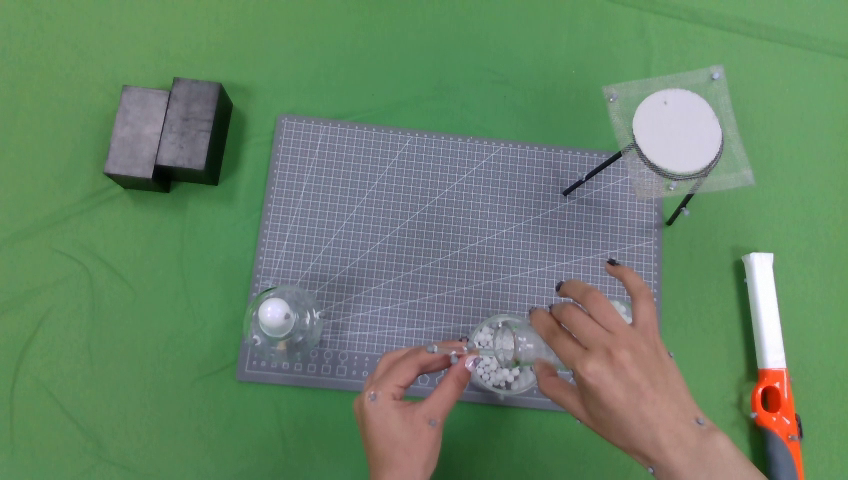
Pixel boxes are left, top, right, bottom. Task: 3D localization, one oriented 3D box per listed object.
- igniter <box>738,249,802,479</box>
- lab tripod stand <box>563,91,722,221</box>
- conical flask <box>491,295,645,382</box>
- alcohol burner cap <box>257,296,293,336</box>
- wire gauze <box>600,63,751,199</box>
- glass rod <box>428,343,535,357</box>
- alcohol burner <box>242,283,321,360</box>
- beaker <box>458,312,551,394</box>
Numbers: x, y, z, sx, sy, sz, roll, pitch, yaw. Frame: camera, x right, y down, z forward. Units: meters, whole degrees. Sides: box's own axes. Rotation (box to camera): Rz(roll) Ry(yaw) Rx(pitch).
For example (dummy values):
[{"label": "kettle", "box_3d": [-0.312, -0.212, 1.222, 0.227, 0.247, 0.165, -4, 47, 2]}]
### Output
[{"label": "igniter", "box_3d": [0.375, 0.146, 0.657, 0.057, 0.025, 0.275, 2, 78, -14]}, {"label": "lab tripod stand", "box_3d": [0.235, -0.086, 0.643, 0.148, 0.132, 0.147, 1, 79, -4]}, {"label": "conical flask", "box_3d": [0.116, 0.083, 0.504, 0.122, 0.075, 0.075, 2, 76, -26]}, {"label": "alcohol burner cap", "box_3d": [-0.138, 0.067, 0.556, 0.034, 0.048, 0.033, 4, 70, -10]}, {"label": "wire gauze", "box_3d": [0.241, -0.104, 0.579, 0.125, 0.011, 0.121, -10, 80, -6]}, {"label": "glass rod", "box_3d": [0.057, 0.095, 0.514, 0.008, 0.201, 0.008, -7, 76, 31]}, {"label": "alcohol burner", "box_3d": [-0.141, 0.077, 0.591, 0.078, 0.119, 0.077, 1, 76, -5]}, {"label": "beaker", "box_3d": [0.075, 0.113, 0.606, 0.084, 0.100, 0.073, -12, 79, -7]}]
